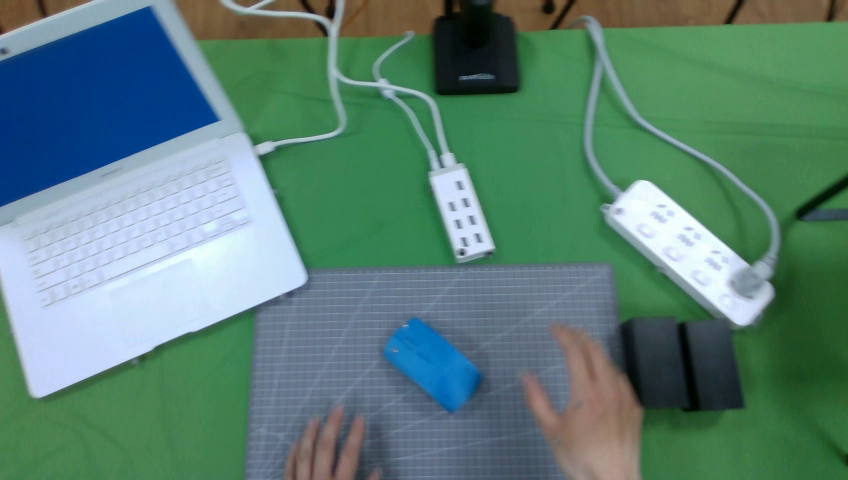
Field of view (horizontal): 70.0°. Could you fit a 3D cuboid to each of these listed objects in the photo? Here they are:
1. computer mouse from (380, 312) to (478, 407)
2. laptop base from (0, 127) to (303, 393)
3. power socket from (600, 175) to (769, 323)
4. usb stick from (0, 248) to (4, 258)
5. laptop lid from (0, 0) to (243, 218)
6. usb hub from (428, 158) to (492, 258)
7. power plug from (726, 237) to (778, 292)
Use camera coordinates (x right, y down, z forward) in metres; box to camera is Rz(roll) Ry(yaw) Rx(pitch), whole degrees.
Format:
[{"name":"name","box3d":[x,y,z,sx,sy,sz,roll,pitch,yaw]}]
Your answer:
[{"name":"computer mouse","box3d":[0.004,0.139,0.715,0.116,0.041,0.062,39,79,15]},{"name":"laptop base","box3d":[-0.354,0.016,0.771,0.354,0.023,0.234,-24,77,-6]},{"name":"power socket","box3d":[0.324,0.009,0.755,0.072,0.033,0.225,-42,76,-12]},{"name":"usb stick","box3d":[-0.560,0.024,0.757,0.059,0.027,0.021,-23,77,-11]},{"name":"laptop lid","box3d":[-0.417,-0.148,0.703,0.357,0.244,0.013,-24,58,-5]},{"name":"usb hub","box3d":[0.044,-0.042,0.779,0.049,0.025,0.124,-16,73,-4]},{"name":"power plug","box3d":[0.397,0.035,0.727,0.072,0.053,0.035,-31,74,-11]}]
